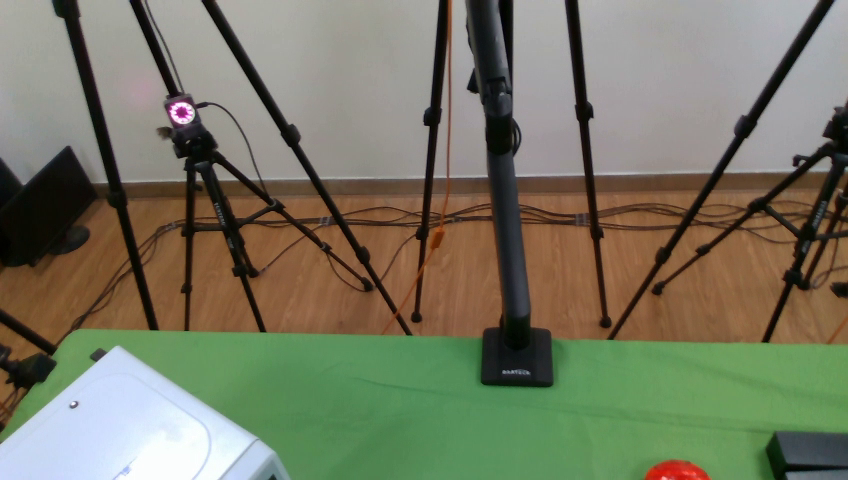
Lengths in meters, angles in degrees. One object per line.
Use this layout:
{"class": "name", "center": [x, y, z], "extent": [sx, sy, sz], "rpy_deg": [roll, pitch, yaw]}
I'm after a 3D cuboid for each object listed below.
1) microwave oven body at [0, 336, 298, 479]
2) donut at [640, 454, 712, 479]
{"class": "microwave oven body", "center": [-0.407, 0.392, 0.722], "extent": [0.323, 0.263, 0.440], "rpy_deg": [22, 52, 27]}
{"class": "donut", "center": [0.348, 0.342, 0.832], "extent": [0.099, 0.049, 0.098], "rpy_deg": [-6, 40, 6]}
